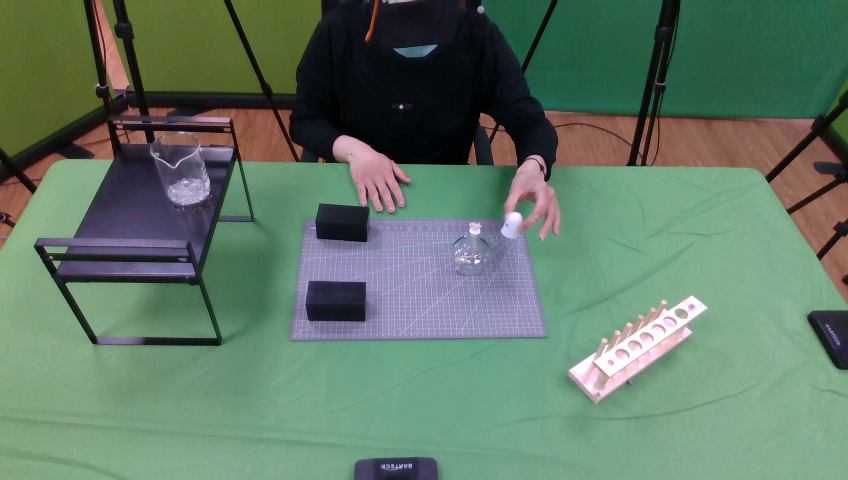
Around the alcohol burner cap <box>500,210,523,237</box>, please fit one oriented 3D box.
[{"bbox_3d":[0.157,-0.032,1.075,0.034,0.048,0.033,14,41,-12],"label":"alcohol burner cap"}]

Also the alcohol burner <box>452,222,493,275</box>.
[{"bbox_3d":[0.091,0.008,1.125,0.078,0.119,0.077,2,48,-2],"label":"alcohol burner"}]

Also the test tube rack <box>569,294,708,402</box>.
[{"bbox_3d":[0.360,0.167,1.014,0.242,0.085,0.066,-25,52,-25],"label":"test tube rack"}]

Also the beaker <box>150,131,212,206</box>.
[{"bbox_3d":[-0.385,-0.110,0.969,0.074,0.101,0.083,-6,48,-9],"label":"beaker"}]
